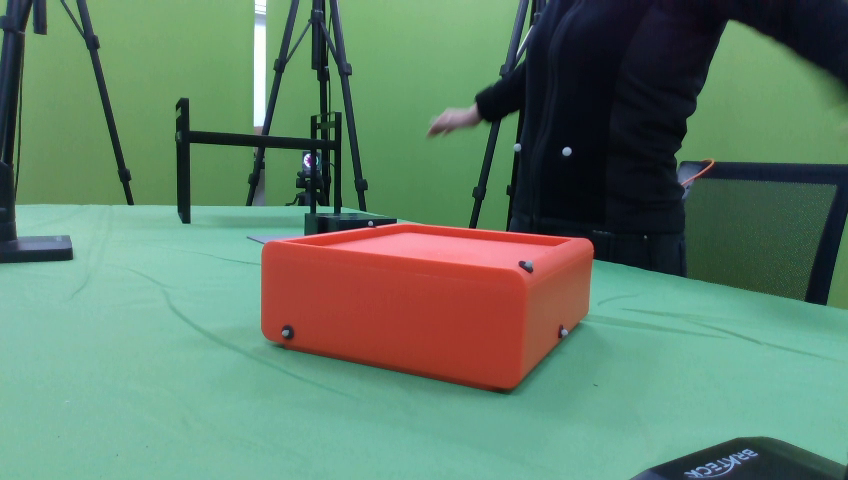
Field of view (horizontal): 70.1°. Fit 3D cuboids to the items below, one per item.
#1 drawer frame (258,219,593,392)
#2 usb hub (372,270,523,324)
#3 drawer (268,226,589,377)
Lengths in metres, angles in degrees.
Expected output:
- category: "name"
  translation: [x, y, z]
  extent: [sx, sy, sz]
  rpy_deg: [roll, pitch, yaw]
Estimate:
- category: "drawer frame"
  translation: [0.015, 0.036, 0.492]
  extent: [0.201, 0.082, 0.214]
  rpy_deg: [6, 9, 24]
- category: "usb hub"
  translation: [0.020, 0.048, 0.527]
  extent: [0.124, 0.025, 0.050]
  rpy_deg: [8, 7, 25]
- category: "drawer"
  translation: [0.015, 0.037, 0.493]
  extent: [0.194, 0.073, 0.212]
  rpy_deg: [7, 8, 25]
